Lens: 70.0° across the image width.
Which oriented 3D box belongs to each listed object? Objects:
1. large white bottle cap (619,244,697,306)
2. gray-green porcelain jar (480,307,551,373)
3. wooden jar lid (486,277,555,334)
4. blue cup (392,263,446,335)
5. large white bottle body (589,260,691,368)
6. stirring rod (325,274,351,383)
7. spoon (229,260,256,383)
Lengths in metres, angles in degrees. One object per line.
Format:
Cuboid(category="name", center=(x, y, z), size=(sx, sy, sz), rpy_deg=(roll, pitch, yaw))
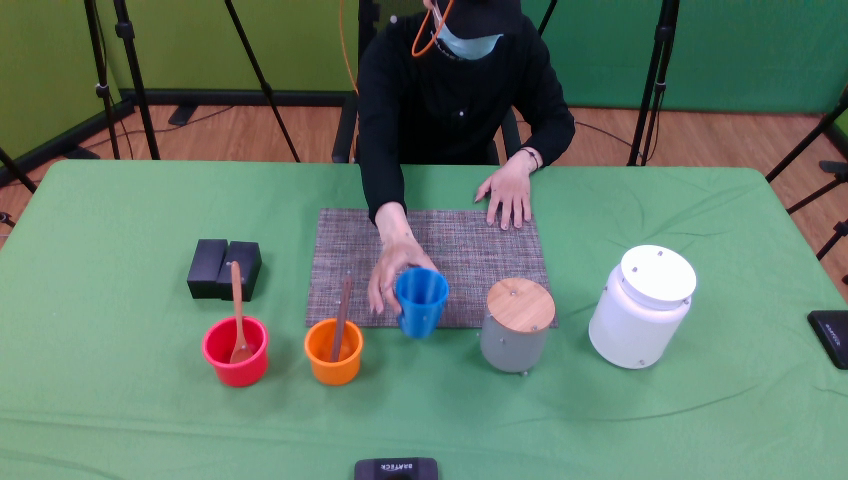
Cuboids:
Cuboid(category="large white bottle cap", center=(0.362, 0.052, 0.939), size=(0.115, 0.018, 0.114), rpy_deg=(2, 46, -2))
Cuboid(category="gray-green porcelain jar", center=(0.148, 0.148, 0.992), size=(0.106, 0.127, 0.105), rpy_deg=(2, 46, -2))
Cuboid(category="wooden jar lid", center=(0.150, 0.105, 0.948), size=(0.108, 0.021, 0.107), rpy_deg=(3, 47, -3))
Cuboid(category="blue cup", center=(-0.012, 0.103, 0.991), size=(0.093, 0.101, 0.092), rpy_deg=(4, 44, -3))
Cuboid(category="large white bottle body", center=(0.358, 0.110, 1.000), size=(0.131, 0.185, 0.130), rpy_deg=(2, 46, -2))
Cuboid(category="stirring rod", center=(-0.137, 0.142, 0.971), size=(0.014, 0.006, 0.176), rpy_deg=(10, 89, 0))
Cuboid(category="spoon", center=(-0.295, 0.129, 0.966), size=(0.042, 0.021, 0.193), rpy_deg=(-4, 90, -9))
